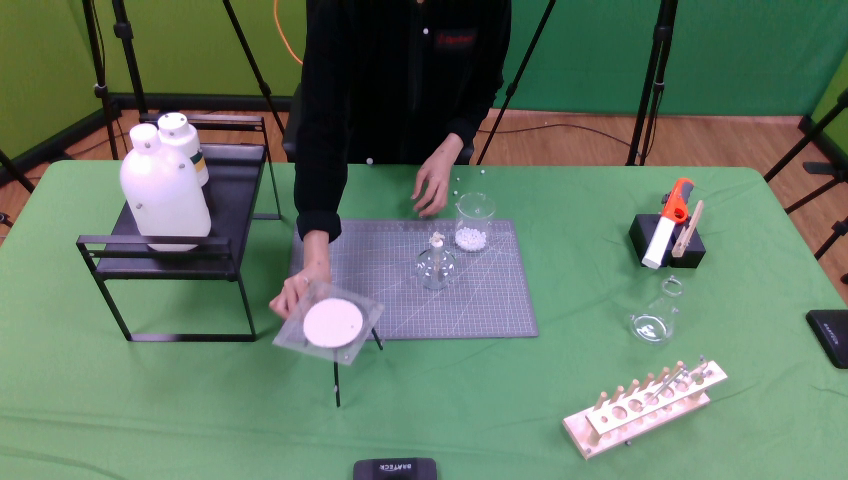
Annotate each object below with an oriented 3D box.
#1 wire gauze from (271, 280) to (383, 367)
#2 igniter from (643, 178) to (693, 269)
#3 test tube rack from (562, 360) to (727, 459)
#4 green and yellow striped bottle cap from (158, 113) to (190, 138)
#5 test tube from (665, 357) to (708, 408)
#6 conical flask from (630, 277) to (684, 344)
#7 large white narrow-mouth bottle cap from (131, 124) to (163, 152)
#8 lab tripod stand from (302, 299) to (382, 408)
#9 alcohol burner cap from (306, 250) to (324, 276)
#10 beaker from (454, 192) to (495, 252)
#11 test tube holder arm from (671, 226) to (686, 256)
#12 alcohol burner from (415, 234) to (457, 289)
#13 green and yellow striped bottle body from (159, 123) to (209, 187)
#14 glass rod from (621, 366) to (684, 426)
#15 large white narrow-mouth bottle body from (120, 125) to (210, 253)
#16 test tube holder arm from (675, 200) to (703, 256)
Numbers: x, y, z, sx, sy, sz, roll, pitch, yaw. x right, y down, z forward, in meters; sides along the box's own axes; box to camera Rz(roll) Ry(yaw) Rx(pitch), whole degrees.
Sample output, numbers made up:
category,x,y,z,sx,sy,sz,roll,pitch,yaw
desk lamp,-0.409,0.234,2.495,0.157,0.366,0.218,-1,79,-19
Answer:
category,x,y,z,sx,sy,sz,roll,pitch,yaw
wire gauze,-0.139,0.121,0.882,0.121,0.011,0.124,18,49,13
igniter,0.488,-0.042,1.205,0.057,0.025,0.276,30,51,11
test tube rack,0.341,0.247,0.940,0.243,0.085,0.066,-16,49,-19
green and yellow striped bottle cap,-0.393,-0.180,0.951,0.045,0.020,0.045,2,44,-2
test tube,0.387,0.216,0.905,0.017,0.151,0.017,1,52,-1
conical flask,0.408,0.117,1.045,0.075,0.122,0.075,2,46,-2
large white narrow-mouth bottle cap,-0.371,-0.137,0.813,0.038,0.024,0.037,3,46,-3
lab tripod stand,-0.134,0.163,0.935,0.148,0.132,0.147,1,49,-1
alcohol burner cap,-0.204,0.040,1.125,0.034,0.048,0.033,2,46,-2
beaker,0.097,-0.034,1.180,0.074,0.101,0.084,23,48,16
test tube holder arm,0.494,0.001,1.167,0.010,0.015,0.087,1,36,42
alcohol burner,0.022,0.033,1.099,0.078,0.120,0.077,1,47,-1
green and yellow striped bottle body,-0.395,-0.145,0.989,0.063,0.120,0.063,2,46,-2
glass rod,0.322,0.227,0.866,0.008,0.200,0.008,6,51,-7
large white narrow-mouth bottle body,-0.378,-0.078,0.875,0.102,0.195,0.101,3,46,-3
test tube holder arm,0.523,-0.025,1.190,0.013,0.015,0.178,0,36,42
